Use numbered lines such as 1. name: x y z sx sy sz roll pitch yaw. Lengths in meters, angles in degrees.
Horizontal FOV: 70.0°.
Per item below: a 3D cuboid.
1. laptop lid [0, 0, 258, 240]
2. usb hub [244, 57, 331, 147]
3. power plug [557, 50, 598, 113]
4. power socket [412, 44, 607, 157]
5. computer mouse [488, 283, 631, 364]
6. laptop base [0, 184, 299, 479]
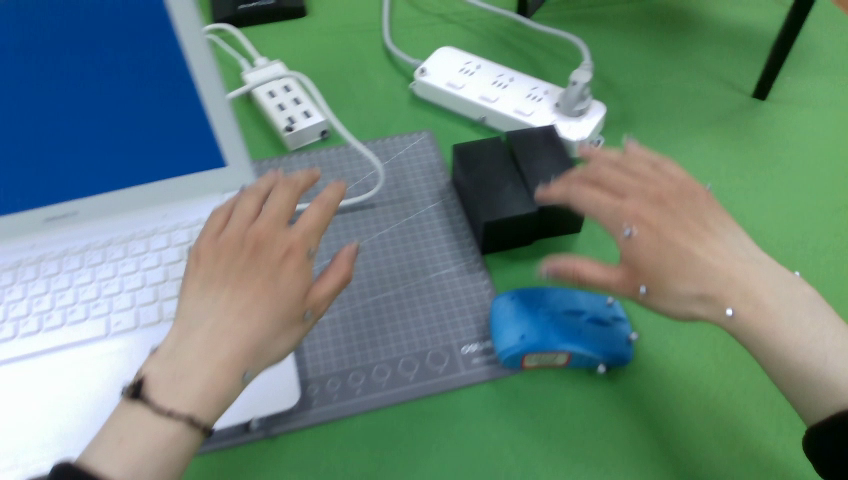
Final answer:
1. laptop lid: -0.339 -0.101 0.493 0.357 0.244 0.013 -15 41 -8
2. usb hub: -0.154 -0.156 0.673 0.049 0.025 0.124 -27 57 -18
3. power plug: 0.170 -0.159 0.639 0.035 0.053 0.072 36 63 26
4. power socket: 0.093 -0.157 0.667 0.225 0.033 0.072 27 57 20
5. computer mouse: 0.111 0.068 0.495 0.117 0.041 0.062 2 50 -6
6. laptop base: -0.295 0.080 0.503 0.355 0.023 0.233 -14 58 -9
